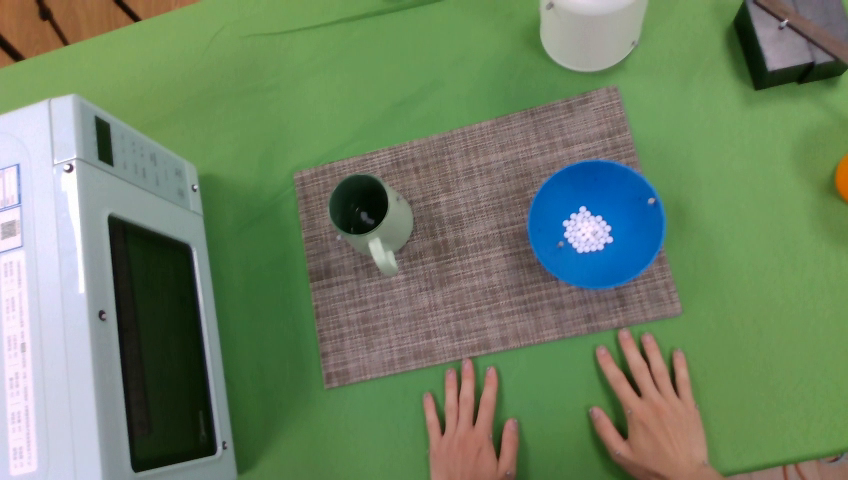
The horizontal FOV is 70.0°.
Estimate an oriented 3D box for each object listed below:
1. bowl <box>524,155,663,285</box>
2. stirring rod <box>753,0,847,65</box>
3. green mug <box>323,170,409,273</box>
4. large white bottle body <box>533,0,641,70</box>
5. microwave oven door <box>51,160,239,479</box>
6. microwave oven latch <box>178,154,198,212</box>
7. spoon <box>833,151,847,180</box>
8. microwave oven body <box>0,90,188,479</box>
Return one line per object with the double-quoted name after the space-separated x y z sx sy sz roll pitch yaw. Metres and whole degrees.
0.195 -0.016 0.715 0.151 0.077 0.150 -2 78 11 "bowl"
0.448 -0.237 0.696 0.175 0.006 0.014 44 124 15 "stirring rod"
-0.066 -0.019 0.753 0.092 0.105 0.124 -22 75 5 "green mug"
0.194 -0.303 0.721 0.130 0.186 0.130 -2 78 11 "large white bottle body"
-0.309 0.111 0.689 0.039 0.245 0.354 -15 76 8 "microwave oven door"
-0.335 -0.076 0.837 0.030 0.029 0.078 -15 77 7 "microwave oven latch"
0.534 -0.078 0.630 0.022 0.192 0.041 31 80 -28 "spoon"
-0.457 0.109 0.724 0.326 0.261 0.439 -15 77 7 "microwave oven body"
